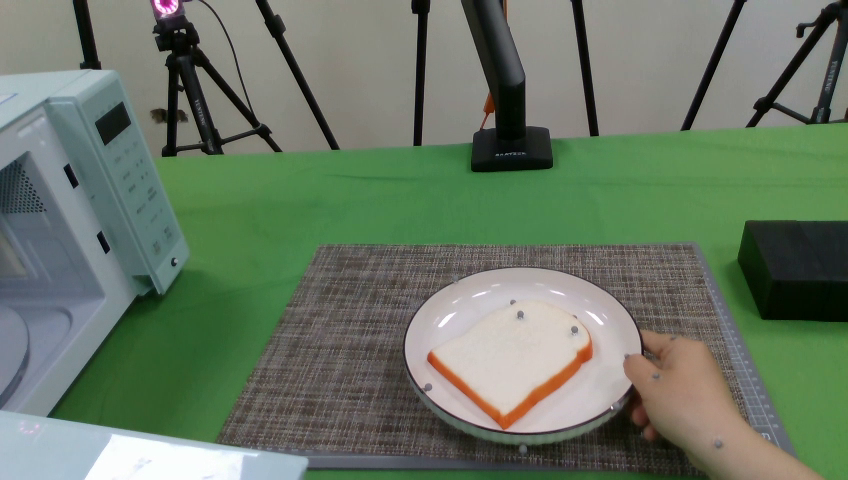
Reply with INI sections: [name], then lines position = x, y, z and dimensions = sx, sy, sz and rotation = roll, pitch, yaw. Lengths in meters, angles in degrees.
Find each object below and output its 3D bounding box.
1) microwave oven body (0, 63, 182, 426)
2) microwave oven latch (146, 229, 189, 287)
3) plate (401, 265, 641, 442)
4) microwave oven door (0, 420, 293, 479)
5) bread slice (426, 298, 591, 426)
[microwave oven body]
position = -0.484, 0.048, 0.542
dimensions = 0.325, 0.262, 0.438
rotation = -1, 36, 8
[microwave oven latch]
position = -0.308, 0.021, 0.720
dimensions = 0.030, 0.030, 0.078
rotation = -1, 36, 9
[plate]
position = 0.084, 0.098, 0.543
dimensions = 0.209, 0.038, 0.207
rotation = -5, 34, 4
[microwave oven door]
position = -0.199, 0.170, 0.308
dimensions = 0.355, 0.246, 0.039
rotation = 3, 36, 14
[bread slice]
position = 0.081, 0.098, 0.546
dimensions = 0.131, 0.019, 0.104
rotation = -28, 40, -28
